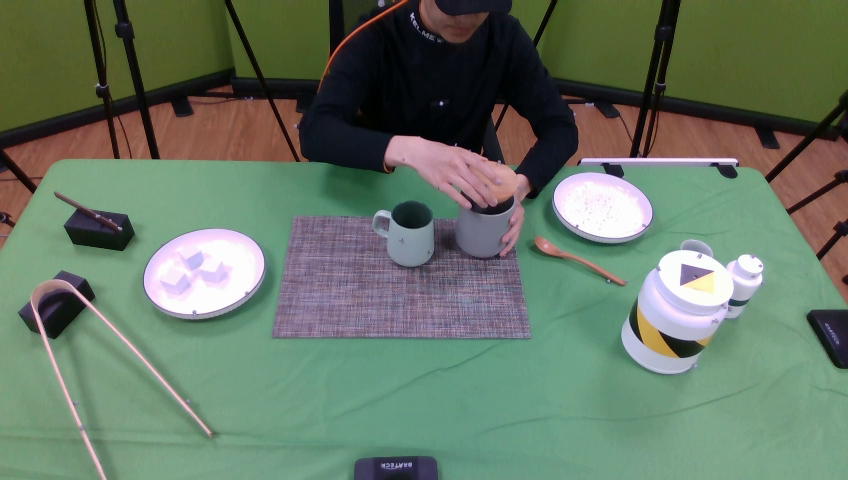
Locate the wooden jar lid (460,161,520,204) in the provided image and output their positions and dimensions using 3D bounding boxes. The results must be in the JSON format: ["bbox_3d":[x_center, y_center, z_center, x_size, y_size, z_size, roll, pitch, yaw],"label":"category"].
[{"bbox_3d":[0.118,-0.104,1.099,0.108,0.021,0.107,2,45,-2],"label":"wooden jar lid"}]

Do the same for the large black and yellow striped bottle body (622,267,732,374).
[{"bbox_3d":[0.415,0.119,0.997,0.131,0.185,0.130,2,46,-2],"label":"large black and yellow striped bottle body"}]

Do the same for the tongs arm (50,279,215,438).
[{"bbox_3d":[-0.459,0.178,0.949,0.386,0.028,0.028,37,60,17],"label":"tongs arm"}]

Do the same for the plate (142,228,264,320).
[{"bbox_3d":[-0.394,0.064,1.095,0.208,0.039,0.206,2,46,-2],"label":"plate"}]

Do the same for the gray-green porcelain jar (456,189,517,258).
[{"bbox_3d":[0.117,-0.038,1.162,0.106,0.127,0.105,2,46,-2],"label":"gray-green porcelain jar"}]

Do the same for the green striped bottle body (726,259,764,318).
[{"bbox_3d":[0.563,0.081,1.089,0.063,0.120,0.063,2,46,-2],"label":"green striped bottle body"}]

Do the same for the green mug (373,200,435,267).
[{"bbox_3d":[-0.040,-0.016,1.146,0.125,0.105,0.092,17,48,13],"label":"green mug"}]

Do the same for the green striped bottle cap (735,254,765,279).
[{"bbox_3d":[0.566,0.046,1.051,0.044,0.020,0.044,0,45,0],"label":"green striped bottle cap"}]

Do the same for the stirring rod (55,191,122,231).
[{"bbox_3d":[-0.632,-0.055,1.138,0.175,0.014,0.006,24,51,19],"label":"stirring rod"}]

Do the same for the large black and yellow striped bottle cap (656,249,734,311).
[{"bbox_3d":[0.419,0.061,0.938,0.115,0.019,0.114,2,47,-2],"label":"large black and yellow striped bottle cap"}]

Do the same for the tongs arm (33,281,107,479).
[{"bbox_3d":[-0.517,0.214,0.910,0.051,0.026,0.383,-28,63,-27],"label":"tongs arm"}]

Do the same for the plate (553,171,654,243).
[{"bbox_3d":[0.373,-0.066,1.275,0.209,0.038,0.208,2,46,-2],"label":"plate"}]

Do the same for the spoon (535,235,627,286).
[{"bbox_3d":[0.303,0.040,1.178,0.193,0.022,0.041,26,34,20],"label":"spoon"}]

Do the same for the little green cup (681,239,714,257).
[{"bbox_3d":[0.531,0.032,1.189,0.061,0.039,0.061,1,49,-1],"label":"little green cup"}]
